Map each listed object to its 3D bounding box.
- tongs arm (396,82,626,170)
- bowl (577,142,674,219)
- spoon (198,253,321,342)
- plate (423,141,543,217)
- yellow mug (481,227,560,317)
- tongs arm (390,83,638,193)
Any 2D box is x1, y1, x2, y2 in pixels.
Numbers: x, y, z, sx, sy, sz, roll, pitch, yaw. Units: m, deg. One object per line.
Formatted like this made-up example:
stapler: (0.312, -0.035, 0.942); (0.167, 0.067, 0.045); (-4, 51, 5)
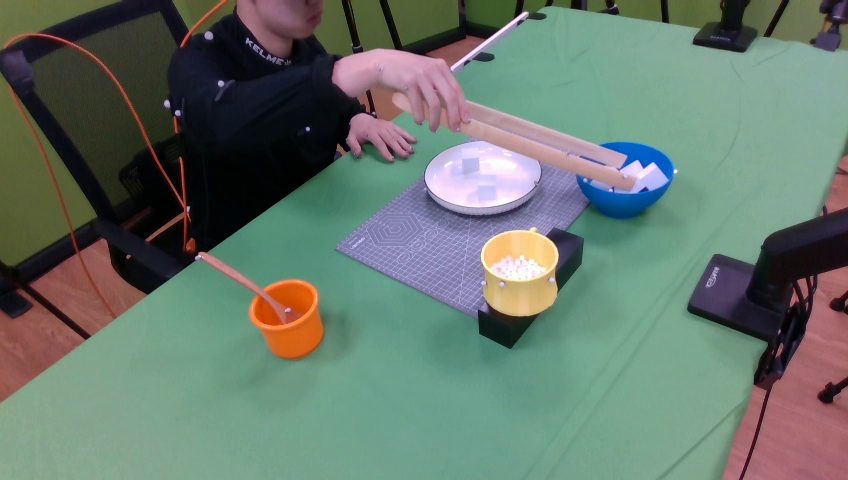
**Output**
tongs arm: (0.137, -0.173, 0.931); (0.389, 0.028, 0.028); (16, 38, -12)
bowl: (0.321, -0.087, 0.981); (0.151, 0.077, 0.150); (-4, 39, 4)
spoon: (-0.220, 0.075, 0.814); (0.021, 0.194, 0.041); (-37, 18, 39)
plate: (0.103, -0.104, 1.059); (0.207, 0.039, 0.206); (-4, 40, 4)
yellow mug: (0.131, 0.032, 0.801); (0.099, 0.064, 0.131); (11, 43, 20)
tongs arm: (0.135, -0.148, 0.893); (0.386, 0.026, 0.050); (17, 34, -10)
